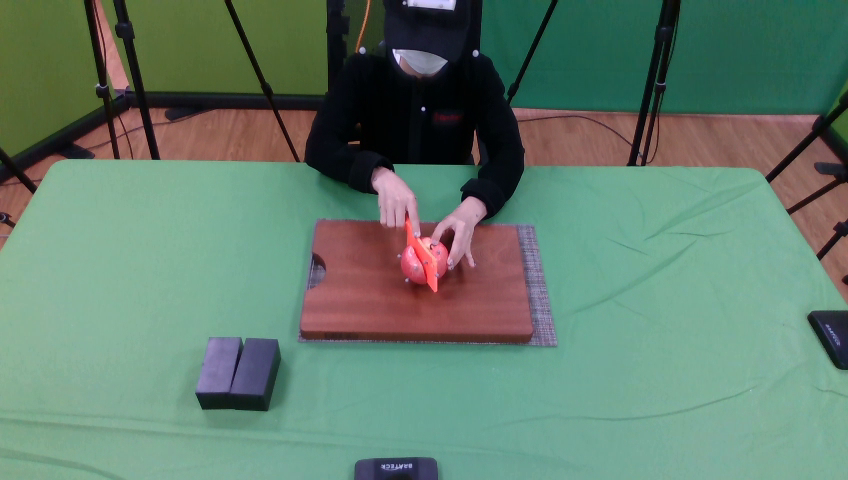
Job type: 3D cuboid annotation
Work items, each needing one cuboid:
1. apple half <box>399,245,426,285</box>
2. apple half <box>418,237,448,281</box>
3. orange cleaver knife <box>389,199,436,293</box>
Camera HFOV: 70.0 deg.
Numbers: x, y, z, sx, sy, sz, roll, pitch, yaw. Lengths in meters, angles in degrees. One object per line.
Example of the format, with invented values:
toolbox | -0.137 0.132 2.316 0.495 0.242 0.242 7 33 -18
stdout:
apple half | -0.025 0.053 1.075 0.033 0.082 0.081 -24 51 -11
apple half | 0.016 0.035 1.091 0.053 0.075 0.080 -13 43 -21
orange cleaver knife | -0.021 0.008 1.086 0.012 0.077 0.210 -13 45 -20
